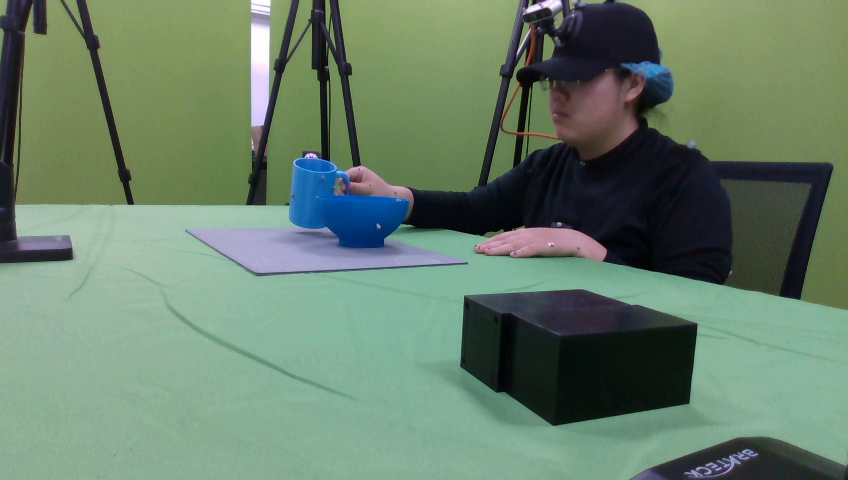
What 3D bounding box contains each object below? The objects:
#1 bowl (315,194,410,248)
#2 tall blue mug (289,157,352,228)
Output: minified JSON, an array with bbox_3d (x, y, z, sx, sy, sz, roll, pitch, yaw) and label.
[{"bbox_3d":[-0.100,-0.030,0.971,0.151,0.077,0.151,2,7,0],"label":"bowl"},{"bbox_3d":[-0.192,-0.090,1.098,0.077,0.108,0.107,21,27,24],"label":"tall blue mug"}]
